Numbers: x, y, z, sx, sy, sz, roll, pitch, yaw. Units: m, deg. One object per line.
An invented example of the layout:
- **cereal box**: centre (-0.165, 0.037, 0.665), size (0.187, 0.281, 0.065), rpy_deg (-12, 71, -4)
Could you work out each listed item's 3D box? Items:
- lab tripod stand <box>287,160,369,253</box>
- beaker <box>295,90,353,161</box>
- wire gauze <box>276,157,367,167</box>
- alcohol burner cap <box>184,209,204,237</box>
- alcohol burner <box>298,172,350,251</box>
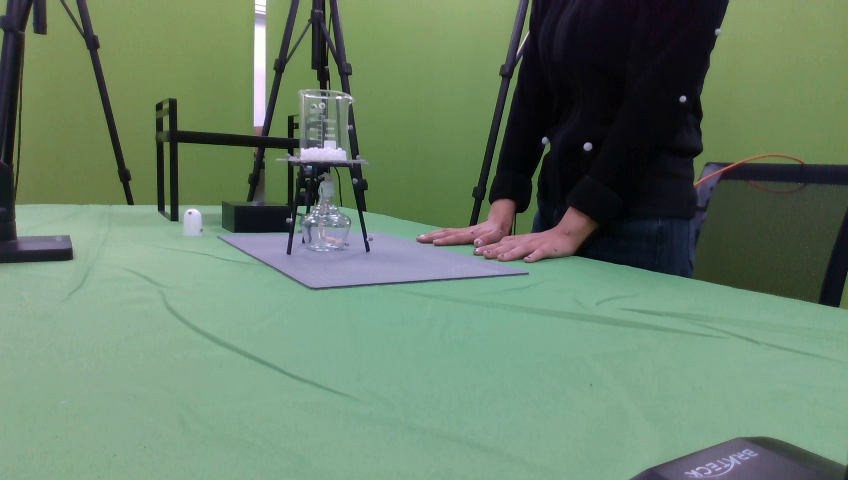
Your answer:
- **lab tripod stand**: centre (-0.157, -0.053, 0.902), size (0.148, 0.131, 0.148), rpy_deg (0, 7, 0)
- **beaker**: centre (-0.146, -0.164, 0.884), size (0.084, 0.100, 0.074), rpy_deg (1, 7, -6)
- **wire gauze**: centre (-0.148, -0.117, 0.895), size (0.121, 0.011, 0.125), rpy_deg (3, 5, -3)
- **alcohol burner cap**: centre (-0.390, -0.029, 1.025), size (0.034, 0.048, 0.034), rpy_deg (2, 8, 0)
- **alcohol burner**: centre (-0.149, -0.043, 0.911), size (0.078, 0.119, 0.078), rpy_deg (3, 5, 0)
